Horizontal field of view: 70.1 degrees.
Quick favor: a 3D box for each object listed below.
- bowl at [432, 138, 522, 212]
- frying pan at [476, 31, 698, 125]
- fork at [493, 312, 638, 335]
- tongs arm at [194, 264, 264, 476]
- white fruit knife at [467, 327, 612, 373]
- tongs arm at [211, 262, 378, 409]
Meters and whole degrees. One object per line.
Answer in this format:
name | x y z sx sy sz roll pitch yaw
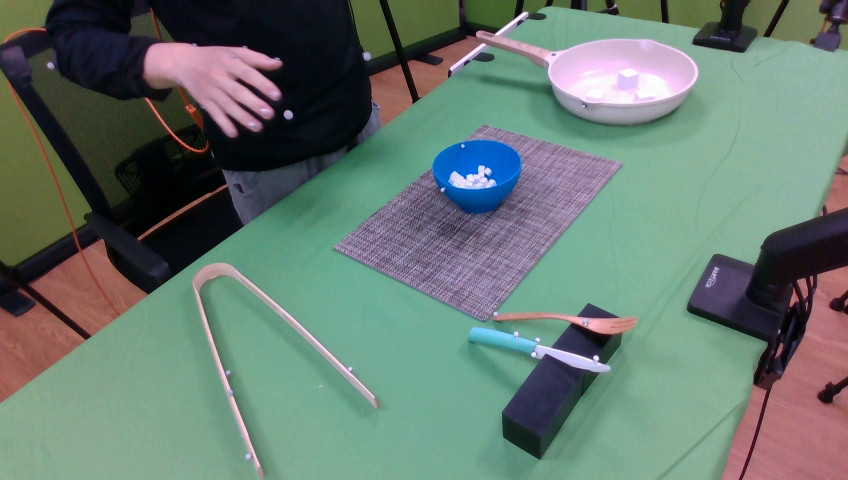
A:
bowl | 0.091 -0.100 1.021 0.151 0.077 0.150 -4 41 4
frying pan | 0.321 -0.371 1.290 0.484 0.103 0.307 29 51 23
fork | 0.173 0.103 0.774 0.206 0.019 0.028 0 41 40
tongs arm | -0.259 0.153 0.816 0.051 0.026 0.381 -24 42 -20
white fruit knife | 0.134 0.134 0.742 0.205 0.027 0.016 7 34 41
tongs arm | -0.192 0.121 0.851 0.028 0.028 0.384 -37 48 -27
